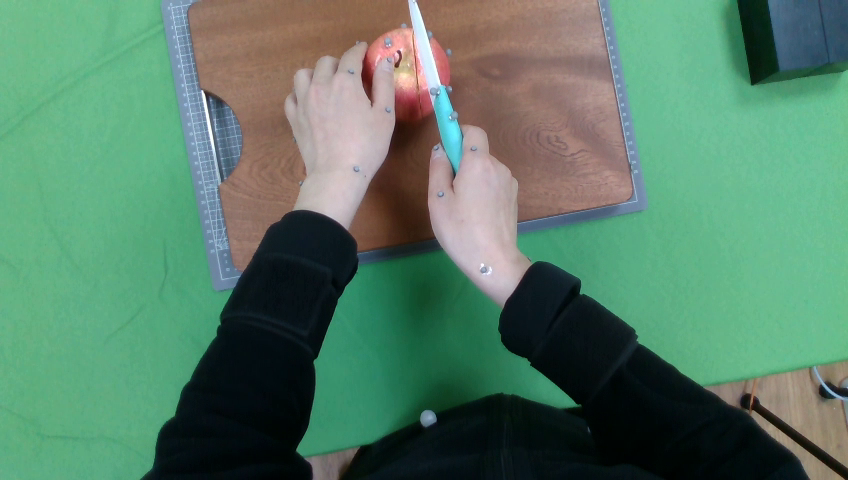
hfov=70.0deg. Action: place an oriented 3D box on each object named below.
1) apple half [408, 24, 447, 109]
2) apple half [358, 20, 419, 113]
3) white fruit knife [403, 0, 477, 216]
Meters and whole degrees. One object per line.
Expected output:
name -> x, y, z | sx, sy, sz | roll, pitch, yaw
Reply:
apple half -> 0.005, -0.160, 0.557 | 0.033, 0.081, 0.081 | -6, 89, 2
apple half -> -0.034, -0.156, 0.557 | 0.053, 0.074, 0.081 | -7, 93, 2
white fruit knife -> 0.009, -0.122, 0.500 | 0.016, 0.027, 0.207 | -15, 87, -29
